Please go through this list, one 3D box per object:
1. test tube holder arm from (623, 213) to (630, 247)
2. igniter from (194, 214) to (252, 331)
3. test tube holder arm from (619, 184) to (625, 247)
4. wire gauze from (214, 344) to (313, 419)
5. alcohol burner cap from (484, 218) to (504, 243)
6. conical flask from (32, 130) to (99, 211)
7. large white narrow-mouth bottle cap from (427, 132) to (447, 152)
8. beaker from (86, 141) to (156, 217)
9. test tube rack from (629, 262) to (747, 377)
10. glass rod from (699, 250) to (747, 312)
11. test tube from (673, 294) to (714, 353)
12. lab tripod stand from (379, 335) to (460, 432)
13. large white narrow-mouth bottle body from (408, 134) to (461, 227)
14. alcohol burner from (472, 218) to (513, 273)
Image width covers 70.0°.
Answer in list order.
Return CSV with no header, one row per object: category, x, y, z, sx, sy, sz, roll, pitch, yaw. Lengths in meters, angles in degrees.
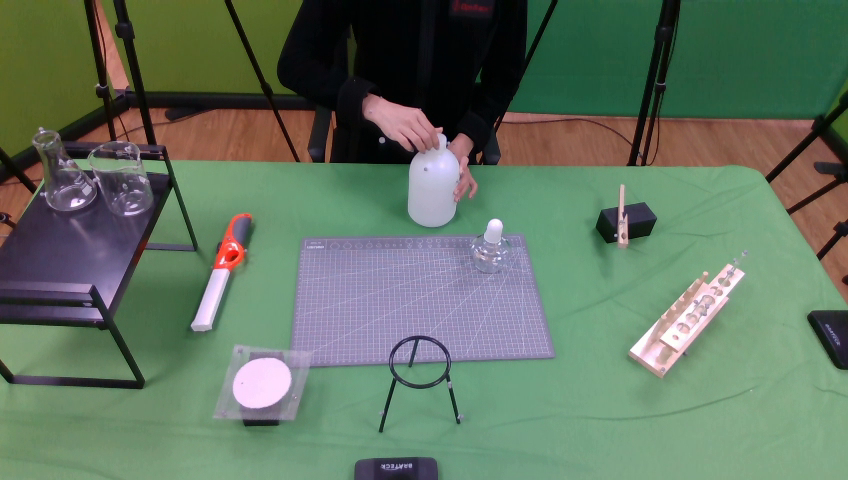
test tube holder arm,0.393,-0.020,1.179,0.010,0.015,0.087,13,46,1
igniter,-0.367,0.050,1.119,0.057,0.025,0.275,-4,46,7
test tube holder arm,0.396,-0.053,1.210,0.013,0.015,0.177,14,46,2
wire gauze,-0.241,0.213,0.916,0.121,0.011,0.124,5,46,1
alcohol burner cap,0.130,-0.021,1.106,0.034,0.048,0.033,3,51,-3
conical flask,-0.565,-0.110,0.944,0.075,0.122,0.075,2,46,-2
large white narrow-mouth bottle cap,0.025,-0.183,1.134,0.038,0.024,0.037,2,46,-2
beaker,-0.467,-0.092,0.950,0.084,0.101,0.073,15,47,11
test tube rack,0.464,0.126,1.061,0.242,0.085,0.066,-34,56,-30
glass rod,0.500,0.074,1.021,0.008,0.201,0.008,0,55,1
test tube,0.428,0.137,0.978,0.017,0.151,0.017,4,47,-4
lab tripod stand,-0.011,0.214,0.911,0.148,0.132,0.147,1,45,0
large white narrow-mouth bottle body,0.022,-0.124,1.197,0.102,0.195,0.101,2,46,-2
alcohol burner,0.128,0.005,1.132,0.078,0.120,0.077,0,47,0
